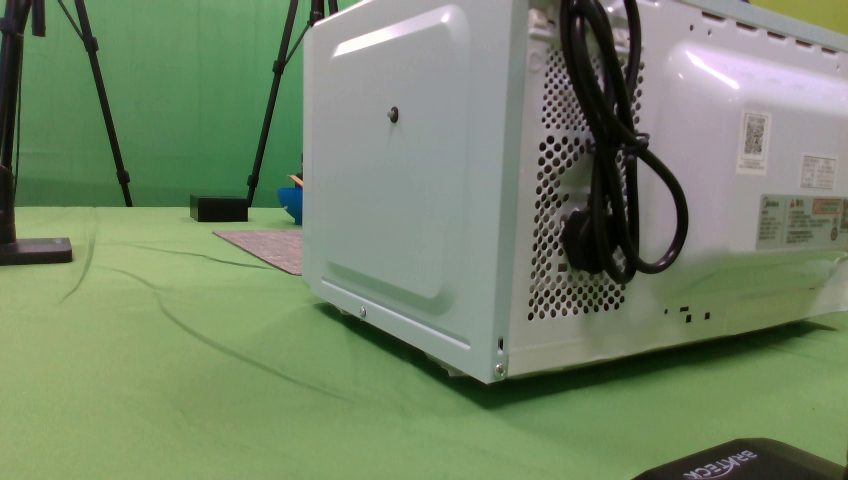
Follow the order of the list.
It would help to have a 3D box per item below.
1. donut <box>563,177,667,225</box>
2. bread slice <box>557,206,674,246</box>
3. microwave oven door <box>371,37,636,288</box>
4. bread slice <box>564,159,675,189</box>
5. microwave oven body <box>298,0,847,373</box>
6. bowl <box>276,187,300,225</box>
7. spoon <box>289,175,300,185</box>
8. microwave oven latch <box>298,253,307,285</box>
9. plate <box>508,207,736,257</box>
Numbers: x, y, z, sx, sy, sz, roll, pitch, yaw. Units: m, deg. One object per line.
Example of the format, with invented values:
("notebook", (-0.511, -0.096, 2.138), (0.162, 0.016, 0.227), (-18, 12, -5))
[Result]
("donut", (0.184, -0.037, 0.587), (0.099, 0.048, 0.099), (-2, 3, 0))
("bread slice", (0.185, -0.014, 0.579), (0.107, 0.018, 0.134), (-6, 8, 10))
("microwave oven door", (0.109, -0.080, 0.686), (0.358, 0.243, 0.039), (-2, 9, -33))
("bread slice", (0.187, -0.063, 0.578), (0.104, 0.019, 0.132), (8, 6, 16))
("microwave oven body", (0.151, -0.055, 0.542), (0.444, 0.260, 0.324), (-2, 7, -33))
("bowl", (-0.241, -0.073, 1.302), (0.151, 0.077, 0.151), (2, 7, 0))
("spoon", (-0.260, -0.110, 1.343), (0.042, 0.021, 0.192), (-8, 33, -30))
("microwave oven latch", (-0.081, 0.027, 0.582), (0.079, 0.029, 0.030), (-1, 7, -32))
("plate", (0.186, -0.010, 0.588), (0.208, 0.039, 0.207), (0, 5, 0))
